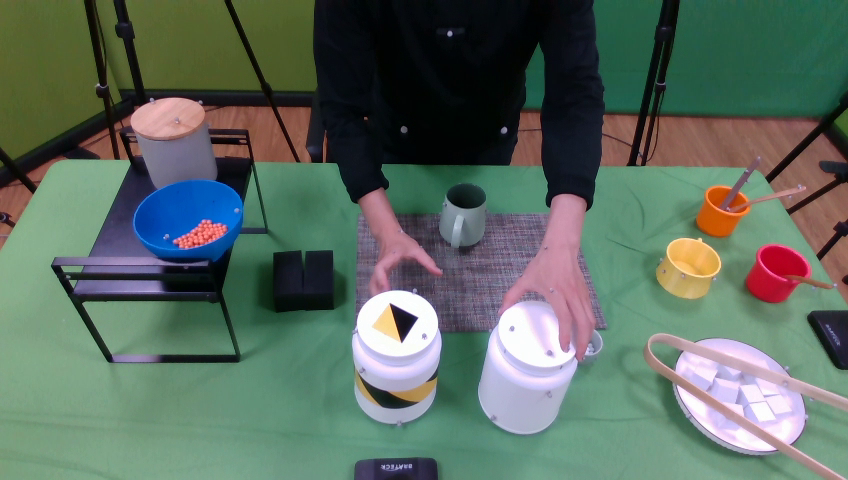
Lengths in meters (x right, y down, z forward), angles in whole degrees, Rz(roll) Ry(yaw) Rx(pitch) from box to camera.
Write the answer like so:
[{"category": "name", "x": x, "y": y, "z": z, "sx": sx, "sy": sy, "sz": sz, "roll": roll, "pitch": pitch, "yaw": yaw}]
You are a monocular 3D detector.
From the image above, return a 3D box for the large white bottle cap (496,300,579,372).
[{"category": "large white bottle cap", "x": 0.160, "y": 0.133, "z": 0.853, "sx": 0.115, "sy": 0.018, "sz": 0.114, "roll": 2, "pitch": 46, "yaw": -2}]

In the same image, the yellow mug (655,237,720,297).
[{"category": "yellow mug", "x": 0.509, "y": 0.041, "z": 1.167, "sx": 0.099, "sy": 0.064, "sz": 0.130, "roll": 24, "pitch": 48, "yaw": 18}]

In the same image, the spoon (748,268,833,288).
[{"category": "spoon", "x": 0.660, "y": 0.068, "z": 1.097, "sx": 0.041, "sy": 0.193, "sz": 0.021, "roll": -4, "pitch": 91, "yaw": -6}]

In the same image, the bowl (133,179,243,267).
[{"category": "bowl", "x": -0.339, "y": -0.013, "z": 0.895, "sx": 0.151, "sy": 0.077, "sz": 0.150, "roll": 2, "pitch": 46, "yaw": -2}]

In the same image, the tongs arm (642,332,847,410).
[{"category": "tongs arm", "x": 0.546, "y": 0.227, "z": 0.968, "sx": 0.384, "sy": 0.026, "sz": 0.050, "roll": 22, "pitch": 52, "yaw": 13}]

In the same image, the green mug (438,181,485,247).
[{"category": "green mug", "x": 0.071, "y": -0.039, "z": 1.178, "sx": 0.092, "sy": 0.105, "sz": 0.124, "roll": 12, "pitch": 47, "yaw": 7}]

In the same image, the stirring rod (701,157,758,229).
[{"category": "stirring rod", "x": 0.634, "y": -0.097, "z": 1.257, "sx": 0.014, "sy": 0.006, "sz": 0.176, "roll": 38, "pitch": 97, "yaw": 29}]

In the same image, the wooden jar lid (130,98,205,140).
[{"category": "wooden jar lid", "x": -0.393, "y": -0.183, "z": 0.934, "sx": 0.108, "sy": 0.021, "sz": 0.107, "roll": 2, "pitch": 44, "yaw": -2}]

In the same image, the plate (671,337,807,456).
[{"category": "plate", "x": 0.504, "y": 0.254, "z": 0.984, "sx": 0.208, "sy": 0.039, "sz": 0.206, "roll": 2, "pitch": 46, "yaw": -2}]

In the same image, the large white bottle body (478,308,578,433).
[{"category": "large white bottle body", "x": 0.156, "y": 0.192, "z": 0.913, "sx": 0.131, "sy": 0.185, "sz": 0.130, "roll": 2, "pitch": 46, "yaw": -2}]

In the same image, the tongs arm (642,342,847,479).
[{"category": "tongs arm", "x": 0.504, "y": 0.279, "z": 0.918, "sx": 0.386, "sy": 0.028, "sz": 0.028, "roll": 33, "pitch": 59, "yaw": 22}]

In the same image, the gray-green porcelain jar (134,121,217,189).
[{"category": "gray-green porcelain jar", "x": -0.397, "y": -0.141, "z": 0.980, "sx": 0.106, "sy": 0.127, "sz": 0.105, "roll": 2, "pitch": 47, "yaw": -2}]

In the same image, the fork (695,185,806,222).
[{"category": "fork", "x": 0.657, "y": -0.074, "z": 1.229, "sx": 0.207, "sy": 0.019, "sz": 0.028, "roll": -23, "pitch": 36, "yaw": 37}]

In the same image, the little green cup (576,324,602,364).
[{"category": "little green cup", "x": 0.269, "y": 0.180, "z": 1.036, "sx": 0.061, "sy": 0.039, "sz": 0.061, "roll": 2, "pitch": 45, "yaw": -2}]

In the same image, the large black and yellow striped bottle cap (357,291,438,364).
[{"category": "large black and yellow striped bottle cap", "x": -0.037, "y": 0.121, "z": 0.851, "sx": 0.115, "sy": 0.019, "sz": 0.114, "roll": 1, "pitch": 46, "yaw": -1}]

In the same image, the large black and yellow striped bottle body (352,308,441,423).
[{"category": "large black and yellow striped bottle body", "x": -0.042, "y": 0.178, "z": 0.913, "sx": 0.131, "sy": 0.185, "sz": 0.130, "roll": 2, "pitch": 46, "yaw": -2}]
